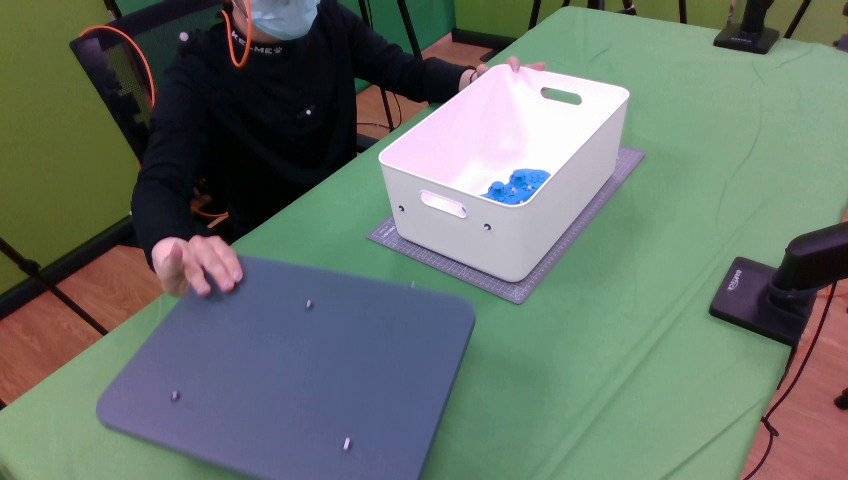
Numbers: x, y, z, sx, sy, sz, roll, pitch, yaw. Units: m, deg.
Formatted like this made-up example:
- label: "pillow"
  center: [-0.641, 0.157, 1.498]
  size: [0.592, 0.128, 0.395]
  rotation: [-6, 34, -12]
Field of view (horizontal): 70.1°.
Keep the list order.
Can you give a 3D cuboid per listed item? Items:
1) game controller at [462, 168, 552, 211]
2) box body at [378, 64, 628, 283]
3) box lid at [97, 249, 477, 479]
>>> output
- label: "game controller"
  center: [0.147, -0.079, 1.007]
  size: [0.156, 0.052, 0.096]
  rotation: [-30, 50, -24]
- label: "box body"
  center: [0.137, -0.121, 0.978]
  size: [0.252, 0.161, 0.365]
  rotation: [22, 48, 30]
- label: "box lid"
  center: [-0.144, 0.137, 0.671]
  size: [0.370, 0.015, 0.263]
  rotation: [11, 50, 17]
